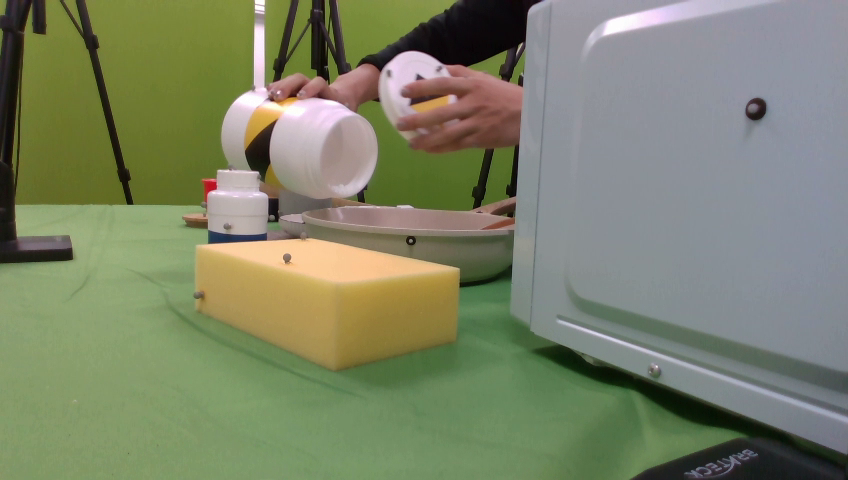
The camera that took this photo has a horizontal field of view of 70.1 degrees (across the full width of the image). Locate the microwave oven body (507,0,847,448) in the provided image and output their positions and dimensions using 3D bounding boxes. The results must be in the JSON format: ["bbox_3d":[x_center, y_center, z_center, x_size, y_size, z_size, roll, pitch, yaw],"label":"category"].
[{"bbox_3d":[0.331,-0.042,0.425,0.444,0.260,0.324,-2,8,-31],"label":"microwave oven body"}]

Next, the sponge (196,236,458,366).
[{"bbox_3d":[-0.087,0.039,0.500,0.206,0.061,0.119,8,10,44],"label":"sponge"}]

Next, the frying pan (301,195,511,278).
[{"bbox_3d":[0.051,-0.029,0.864,0.305,0.102,0.490,8,18,35],"label":"frying pan"}]

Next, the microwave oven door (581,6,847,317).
[{"bbox_3d":[0.295,-0.067,0.570,0.358,0.243,0.039,-3,8,-31],"label":"microwave oven door"}]

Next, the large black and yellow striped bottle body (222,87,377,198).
[{"bbox_3d":[-0.167,-0.131,0.819,0.183,0.130,0.131,18,15,33],"label":"large black and yellow striped bottle body"}]

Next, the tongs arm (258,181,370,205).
[{"bbox_3d":[-0.241,-0.095,1.373,0.387,0.026,0.050,9,0,-37],"label":"tongs arm"}]

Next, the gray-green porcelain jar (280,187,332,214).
[{"bbox_3d":[-0.238,-0.092,1.221,0.106,0.126,0.106,2,7,0],"label":"gray-green porcelain jar"}]

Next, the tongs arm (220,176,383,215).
[{"bbox_3d":[-0.285,-0.104,1.445,0.389,0.027,0.028,9,-4,-23],"label":"tongs arm"}]

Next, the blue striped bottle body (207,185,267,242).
[{"bbox_3d":[-0.204,-0.016,0.663,0.063,0.120,0.063,2,7,0],"label":"blue striped bottle body"}]

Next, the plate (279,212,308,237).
[{"bbox_3d":[-0.139,-0.022,1.021,0.209,0.038,0.209,2,8,0],"label":"plate"}]

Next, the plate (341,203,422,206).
[{"bbox_3d":[-0.089,-0.054,1.309,0.208,0.039,0.207,2,8,0],"label":"plate"}]

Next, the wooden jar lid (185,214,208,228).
[{"bbox_3d":[-0.404,-0.037,1.169,0.108,0.020,0.108,3,7,0],"label":"wooden jar lid"}]

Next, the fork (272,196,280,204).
[{"bbox_3d":[-0.396,-0.143,1.486,0.028,0.018,0.208,19,-26,44],"label":"fork"}]

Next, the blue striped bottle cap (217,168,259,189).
[{"bbox_3d":[-0.202,-0.067,0.656,0.044,0.020,0.044,0,10,0],"label":"blue striped bottle cap"}]

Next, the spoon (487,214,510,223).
[{"bbox_3d":[0.076,-0.012,0.793,0.193,0.021,0.042,-25,0,11],"label":"spoon"}]

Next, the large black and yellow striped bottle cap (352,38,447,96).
[{"bbox_3d":[-0.028,-0.202,0.712,0.115,0.019,0.115,-21,-1,0],"label":"large black and yellow striped bottle cap"}]

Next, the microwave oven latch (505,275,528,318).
[{"bbox_3d":[0.100,0.042,0.473,0.079,0.029,0.030,-2,8,-31],"label":"microwave oven latch"}]
